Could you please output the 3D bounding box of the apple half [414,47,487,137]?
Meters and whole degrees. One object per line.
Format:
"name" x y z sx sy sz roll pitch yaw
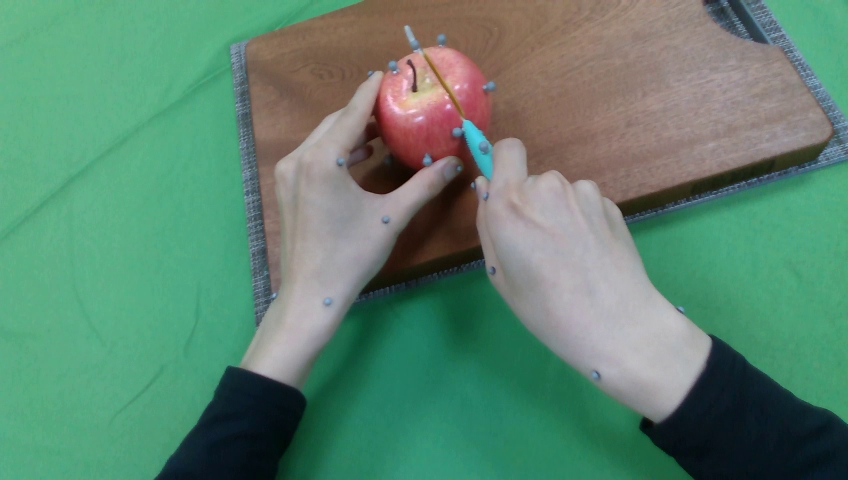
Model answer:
"apple half" 0.026 -0.101 0.427 0.033 0.082 0.080 -30 61 -1

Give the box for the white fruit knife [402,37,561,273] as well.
"white fruit knife" 0.029 -0.066 0.394 0.016 0.028 0.205 -30 63 -1

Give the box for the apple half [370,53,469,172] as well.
"apple half" -0.008 -0.081 0.426 0.053 0.075 0.080 -32 66 1
